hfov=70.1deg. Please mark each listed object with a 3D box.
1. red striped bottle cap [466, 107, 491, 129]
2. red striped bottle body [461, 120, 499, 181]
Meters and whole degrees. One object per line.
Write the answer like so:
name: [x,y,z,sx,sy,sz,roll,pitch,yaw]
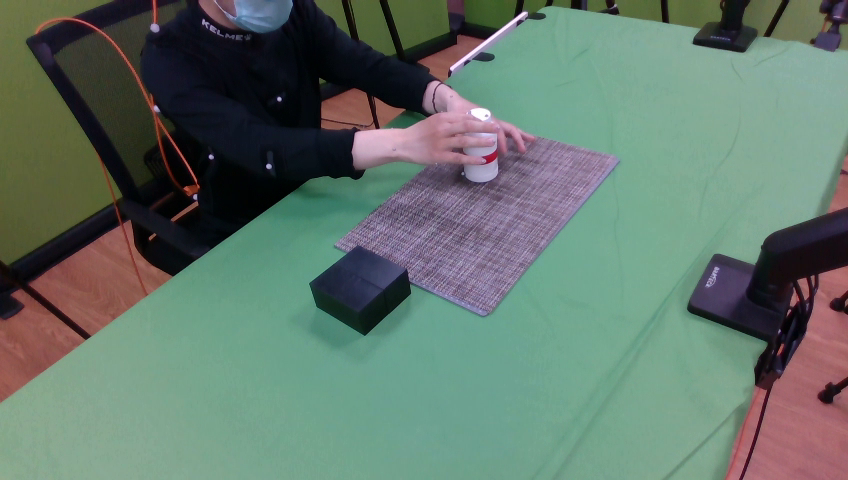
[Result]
red striped bottle cap: [0.092,-0.209,1.031,0.044,0.018,0.044,-4,43,4]
red striped bottle body: [0.099,-0.168,1.067,0.063,0.120,0.062,-4,41,4]
